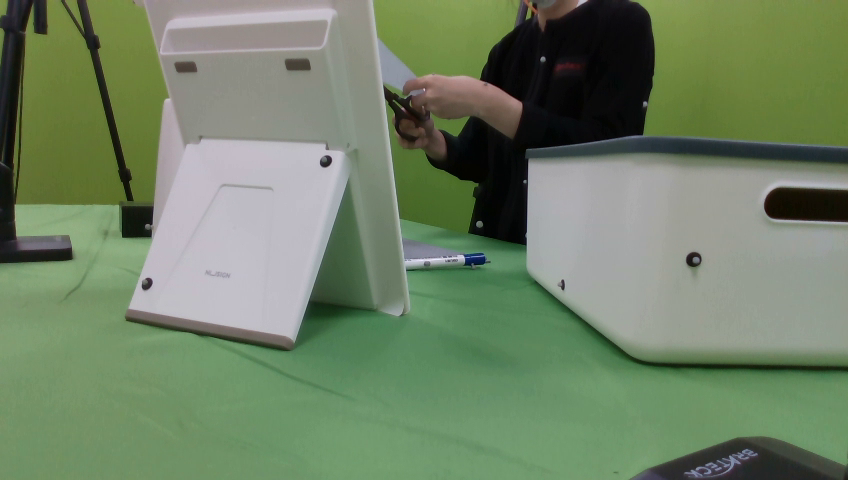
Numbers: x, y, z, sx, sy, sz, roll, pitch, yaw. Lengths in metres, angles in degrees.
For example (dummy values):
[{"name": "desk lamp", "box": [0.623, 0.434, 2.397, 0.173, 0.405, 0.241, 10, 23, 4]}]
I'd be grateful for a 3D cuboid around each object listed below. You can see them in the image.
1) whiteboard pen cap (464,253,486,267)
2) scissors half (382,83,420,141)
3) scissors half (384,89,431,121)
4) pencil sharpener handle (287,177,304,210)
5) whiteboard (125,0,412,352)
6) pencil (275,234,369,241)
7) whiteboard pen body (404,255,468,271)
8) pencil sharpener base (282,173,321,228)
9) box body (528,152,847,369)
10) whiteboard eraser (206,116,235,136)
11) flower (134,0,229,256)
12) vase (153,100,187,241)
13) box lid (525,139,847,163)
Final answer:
[{"name": "whiteboard pen cap", "box": [0.066, 0.027, 0.818, 0.033, 0.018, 0.018, -6, 10, -24]}, {"name": "scissors half", "box": [-0.061, -0.237, 1.051, 0.012, 0.040, 0.176, 16, -29, 51]}, {"name": "scissors half", "box": [-0.051, -0.256, 1.055, 0.176, 0.040, 0.013, 21, -8, -40]}, {"name": "pencil sharpener handle", "box": [-0.269, -0.096, 1.257, 0.036, 0.067, 0.030, -8, 8, -27]}, {"name": "whiteboard", "box": [-0.151, -0.049, 0.472, 0.216, 0.305, 0.144, 6, 27, 24]}, {"name": "pencil", "box": [-0.169, -0.006, 1.036, 0.195, 0.012, 0.012, -2, 9, -45]}, {"name": "whiteboard pen body", "box": [0.012, 0.030, 0.792, 0.141, 0.017, 0.017, -3, 9, -24]}, {"name": "pencil sharpener base", "box": [-0.247, -0.080, 1.212, 0.061, 0.107, 0.076, -2, 5, -28]}, {"name": "box body", "box": [0.258, -0.005, 0.591, 0.254, 0.160, 0.363, 2, 7, -4]}, {"name": "whiteboard eraser", "box": [-0.450, -0.252, 1.335, 0.056, 0.042, 0.112, 1, 7, -22]}, {"name": "flower", "box": [-0.282, -0.147, 0.713, 0.038, 0.362, 0.044, -23, 24, -31]}, {"name": "vase", "box": [-0.278, -0.066, 0.736, 0.098, 0.200, 0.098, 2, 9, 0]}, {"name": "box lid", "box": [0.261, -0.078, 0.580, 0.264, 0.015, 0.371, 2, 7, -4]}]
